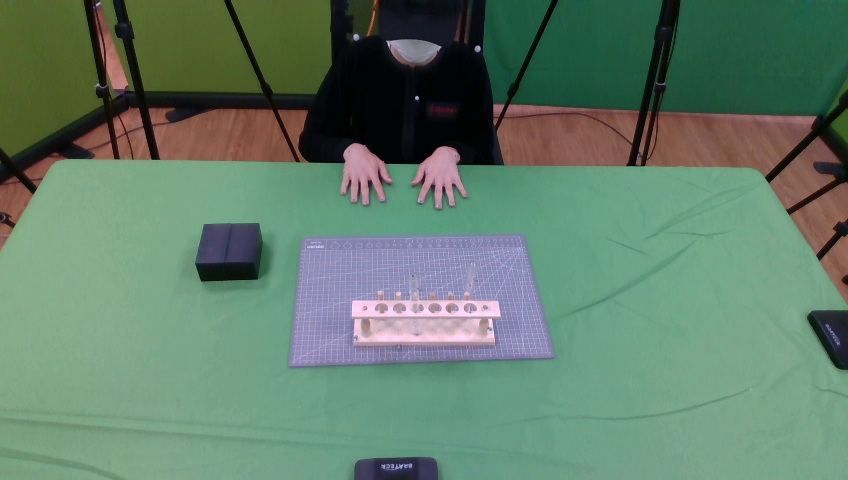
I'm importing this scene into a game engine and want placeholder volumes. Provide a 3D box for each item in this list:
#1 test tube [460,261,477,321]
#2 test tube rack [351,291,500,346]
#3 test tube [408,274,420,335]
[{"bbox_3d":[0.073,0.087,1.010,0.017,0.151,0.017,2,47,-2],"label":"test tube"},{"bbox_3d":[0.000,0.129,1.026,0.242,0.085,0.066,1,46,-4],"label":"test tube rack"},{"bbox_3d":[-0.016,0.107,0.977,0.017,0.151,0.017,0,48,1],"label":"test tube"}]
